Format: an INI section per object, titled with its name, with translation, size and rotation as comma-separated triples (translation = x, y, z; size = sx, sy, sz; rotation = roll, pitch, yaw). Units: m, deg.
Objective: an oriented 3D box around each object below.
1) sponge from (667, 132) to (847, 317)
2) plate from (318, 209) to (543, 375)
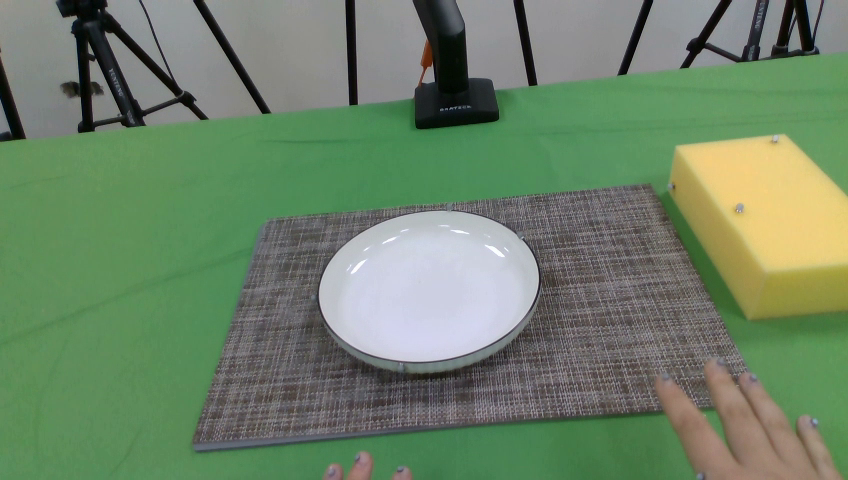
[sponge]
translation = 0.333, -0.023, 0.587
size = 0.118, 0.061, 0.204
rotation = -7, 39, 1
[plate]
translation = 0.007, 0.047, 0.569
size = 0.207, 0.039, 0.205
rotation = -5, 39, 4
